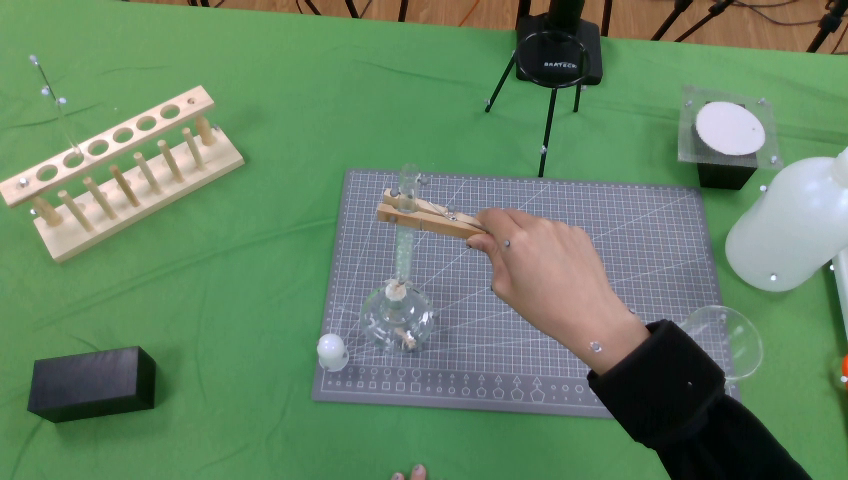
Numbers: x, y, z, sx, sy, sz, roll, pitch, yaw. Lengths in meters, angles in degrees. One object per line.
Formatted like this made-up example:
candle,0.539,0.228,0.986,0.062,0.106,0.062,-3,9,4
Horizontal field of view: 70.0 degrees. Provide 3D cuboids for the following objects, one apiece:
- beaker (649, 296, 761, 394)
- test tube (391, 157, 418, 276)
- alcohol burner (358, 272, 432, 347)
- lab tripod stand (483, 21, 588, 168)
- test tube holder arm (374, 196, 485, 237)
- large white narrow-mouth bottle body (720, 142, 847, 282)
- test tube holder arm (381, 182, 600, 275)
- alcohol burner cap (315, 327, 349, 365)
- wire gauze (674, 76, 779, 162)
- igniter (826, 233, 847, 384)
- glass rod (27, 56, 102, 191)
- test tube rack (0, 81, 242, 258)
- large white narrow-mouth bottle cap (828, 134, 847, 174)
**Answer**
beaker,0.274,0.110,0.610,0.084,0.101,0.073,8,61,4
test tube,-0.017,-0.013,0.499,0.017,0.151,0.017,3,55,-3
alcohol burner,-0.029,0.065,0.619,0.078,0.120,0.077,2,60,-3
lab tripod stand,0.146,-0.186,0.753,0.148,0.132,0.147,1,62,-2
test tube holder arm,0.004,-0.018,0.471,0.088,0.015,0.010,12,54,4
large white narrow-mouth bottle body,0.402,-0.037,0.642,0.102,0.196,0.101,0,60,0
test tube holder arm,0.049,-0.009,0.469,0.178,0.015,0.013,19,55,9
alcohol burner cap,-0.098,0.109,0.633,0.034,0.048,0.033,0,63,1
wire gauze,0.373,-0.150,0.754,0.121,0.011,0.124,10,61,4
igniter,0.474,0.111,0.658,0.057,0.025,0.274,13,61,-6
glass rod,-0.380,-0.112,0.651,0.008,0.201,0.008,3,52,-3
test tube rack,-0.347,-0.084,0.712,0.242,0.086,0.066,-33,67,-18
large white narrow-mouth bottle cap,0.403,-0.081,0.568,0.038,0.024,0.037,1,61,-1
